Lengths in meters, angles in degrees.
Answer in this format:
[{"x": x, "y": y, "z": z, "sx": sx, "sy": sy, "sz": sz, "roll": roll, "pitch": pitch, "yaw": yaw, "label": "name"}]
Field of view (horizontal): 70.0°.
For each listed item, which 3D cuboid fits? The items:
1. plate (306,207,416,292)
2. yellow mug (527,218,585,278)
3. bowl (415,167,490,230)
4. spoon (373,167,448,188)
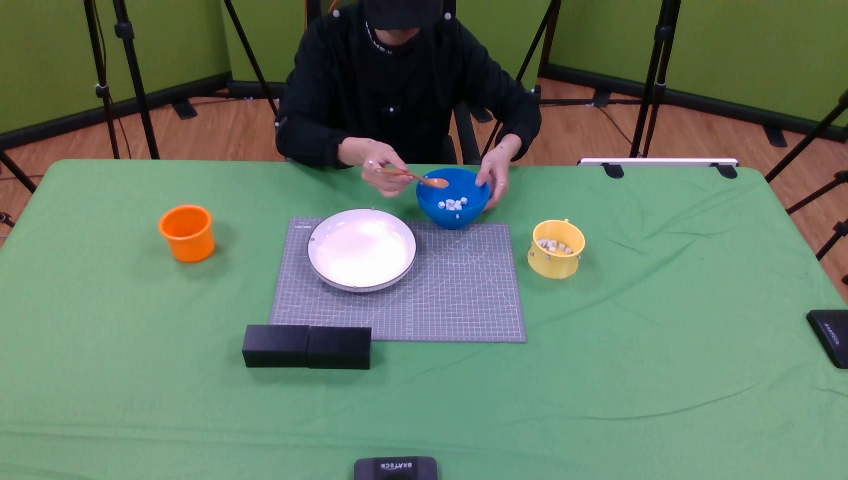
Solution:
[{"x": -0.119, "y": 0.021, "z": 1.153, "sx": 0.209, "sy": 0.038, "sz": 0.208, "roll": 2, "pitch": 46, "yaw": -2, "label": "plate"}, {"x": 0.261, "y": 0.006, "z": 1.181, "sx": 0.100, "sy": 0.064, "sz": 0.130, "roll": 18, "pitch": 47, "yaw": 14, "label": "yellow mug"}, {"x": 0.055, "y": -0.075, "z": 1.231, "sx": 0.151, "sy": 0.077, "sz": 0.150, "roll": 1, "pitch": 40, "yaw": 0, "label": "bowl"}, {"x": -0.024, "y": -0.122, "z": 1.152, "sx": 0.194, "sy": 0.021, "sz": 0.041, "roll": 10, "pitch": 22, "yaw": -48, "label": "spoon"}]
